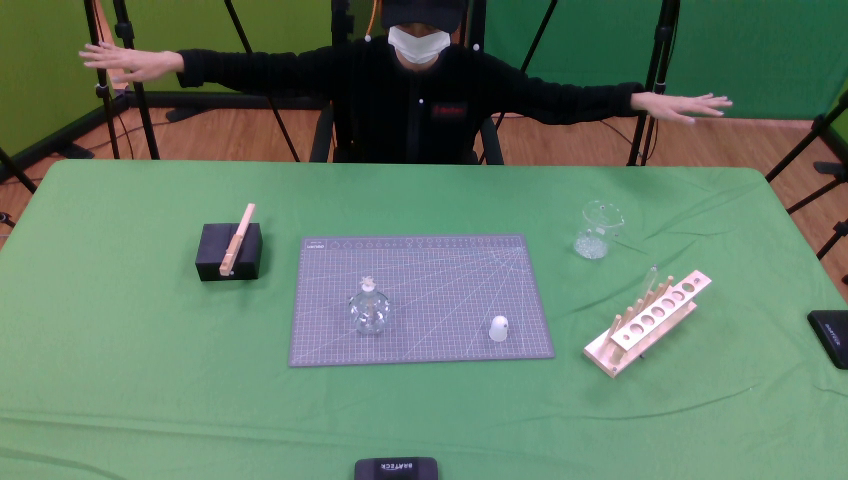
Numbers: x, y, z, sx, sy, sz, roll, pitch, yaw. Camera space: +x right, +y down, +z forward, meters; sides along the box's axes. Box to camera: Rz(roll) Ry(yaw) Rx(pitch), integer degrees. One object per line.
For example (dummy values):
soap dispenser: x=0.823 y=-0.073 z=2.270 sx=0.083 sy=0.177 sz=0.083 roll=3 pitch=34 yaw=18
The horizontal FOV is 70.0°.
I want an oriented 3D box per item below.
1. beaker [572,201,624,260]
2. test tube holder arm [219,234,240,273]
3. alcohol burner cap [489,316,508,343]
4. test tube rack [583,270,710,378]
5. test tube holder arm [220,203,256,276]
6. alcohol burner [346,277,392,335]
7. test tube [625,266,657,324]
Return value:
beaker: x=0.338 y=-0.015 z=1.186 sx=0.084 sy=0.101 sz=0.074 roll=21 pitch=49 yaw=15
test tube holder arm: x=-0.344 y=0.023 z=1.076 sx=0.015 sy=0.010 sz=0.087 roll=5 pitch=45 yaw=2
alcohol burner cap: x=0.130 y=0.151 z=1.045 sx=0.034 sy=0.048 sz=0.033 roll=2 pitch=46 yaw=-2
test tube rack: x=0.389 y=0.133 z=1.057 sx=0.242 sy=0.085 sz=0.066 roll=-29 pitch=54 yaw=-28
test tube holder arm: x=-0.340 y=-0.005 z=1.112 sx=0.015 sy=0.013 sz=0.177 roll=5 pitch=46 yaw=2
alcohol burner: x=-0.093 y=0.106 z=1.021 sx=0.078 sy=0.120 sz=0.077 roll=1 pitch=46 yaw=-1
test tube: x=0.367 y=0.097 z=1.027 sx=0.017 sy=0.151 sz=0.017 roll=1 pitch=46 yaw=-1
